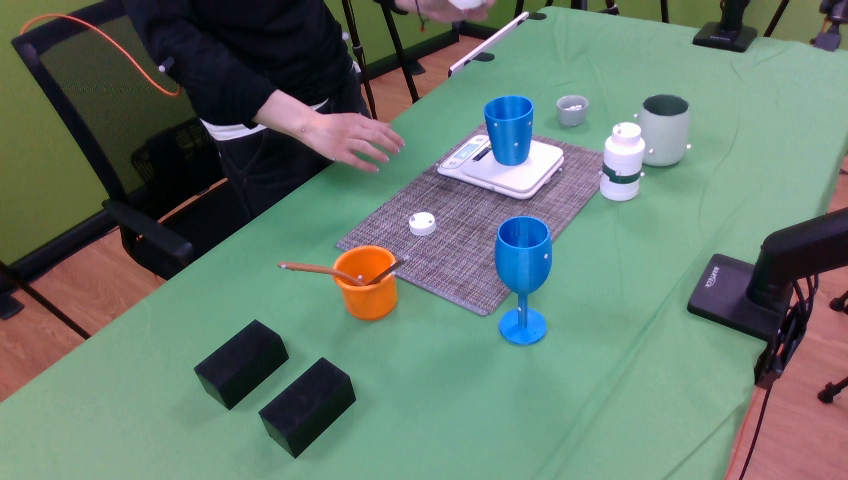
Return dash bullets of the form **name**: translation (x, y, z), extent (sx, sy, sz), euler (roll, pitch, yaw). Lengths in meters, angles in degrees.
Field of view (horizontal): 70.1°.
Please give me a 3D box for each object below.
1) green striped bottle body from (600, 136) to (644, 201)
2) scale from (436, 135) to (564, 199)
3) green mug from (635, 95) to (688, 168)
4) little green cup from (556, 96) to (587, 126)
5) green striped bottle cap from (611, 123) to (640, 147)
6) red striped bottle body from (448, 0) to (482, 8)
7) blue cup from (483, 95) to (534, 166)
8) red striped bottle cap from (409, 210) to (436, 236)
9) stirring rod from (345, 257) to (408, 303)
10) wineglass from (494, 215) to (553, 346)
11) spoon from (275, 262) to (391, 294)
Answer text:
- **green striped bottle body**: translation (0.326, -0.128, 0.997), extent (0.063, 0.120, 0.063), euler (-4, 41, 4)
- **scale**: translation (0.137, -0.141, 1.101), extent (0.199, 0.032, 0.149), euler (22, 48, 30)
- **green mug**: translation (0.421, -0.201, 1.081), extent (0.092, 0.105, 0.125), euler (5, 42, 15)
- **little green cup**: translation (0.295, -0.258, 1.214), extent (0.061, 0.039, 0.061), euler (-4, 42, 4)
- **green striped bottle cap**: translation (0.322, -0.168, 0.963), extent (0.044, 0.020, 0.044), euler (-3, 42, 3)
- **red striped bottle body**: translation (0.068, -0.422, 0.921), extent (0.063, 0.120, 0.063), euler (2, 61, -3)
- **blue cup**: translation (0.149, -0.187, 1.051), extent (0.092, 0.101, 0.092), euler (-6, 41, 6)
- **red striped bottle cap**: translation (-0.003, -0.029, 1.000), extent (0.044, 0.018, 0.044), euler (-6, 55, 8)
- **stirring rod**: translation (-0.067, 0.057, 0.815), extent (0.014, 0.175, 0.006), euler (-24, 81, -37)
- **wineglass**: translation (0.127, 0.055, 0.770), extent (0.074, 0.173, 0.073), euler (-4, 40, 4)
- **spoon**: translation (-0.120, 0.050, 0.830), extent (0.041, 0.195, 0.021), euler (30, 96, 45)
